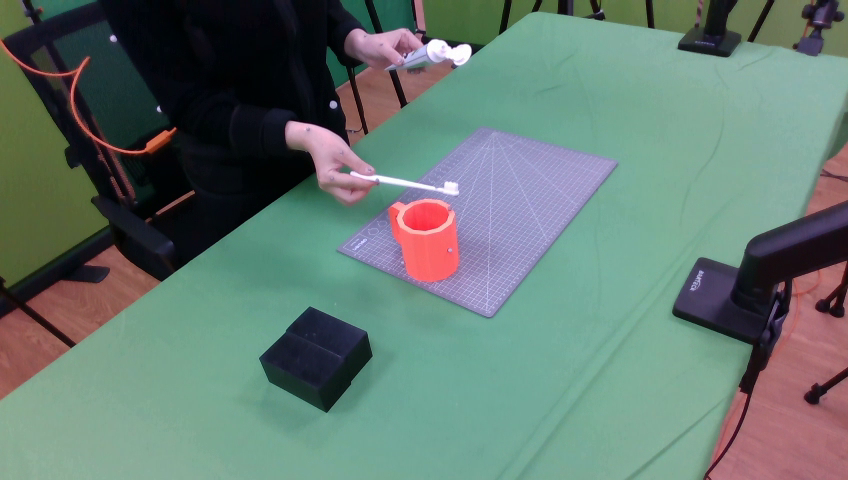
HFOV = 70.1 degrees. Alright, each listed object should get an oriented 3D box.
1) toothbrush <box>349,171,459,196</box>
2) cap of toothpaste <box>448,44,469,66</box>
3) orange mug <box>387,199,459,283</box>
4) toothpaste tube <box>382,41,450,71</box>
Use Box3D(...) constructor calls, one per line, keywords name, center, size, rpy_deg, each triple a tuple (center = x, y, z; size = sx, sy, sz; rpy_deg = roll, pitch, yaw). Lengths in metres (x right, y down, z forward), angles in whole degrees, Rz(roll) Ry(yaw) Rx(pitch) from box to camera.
Box3D(name="toothbrush", center=(-0.032, -0.083, 0.859), size=(0.180, 0.017, 0.014), rpy_deg=(12, 31, 27))
Box3D(name="cap of toothpaste", center=(0.054, -0.291, 0.945), size=(0.037, 0.011, 0.037), rpy_deg=(-12, 71, 36))
Box3D(name="orange mug", center=(-0.006, -0.007, 0.923), size=(0.125, 0.101, 0.084), rpy_deg=(32, 54, 32))
Box3D(name="toothpaste tube", center=(-0.009, -0.302, 1.009), size=(0.055, 0.034, 0.164), rpy_deg=(-10, 9, -31))
